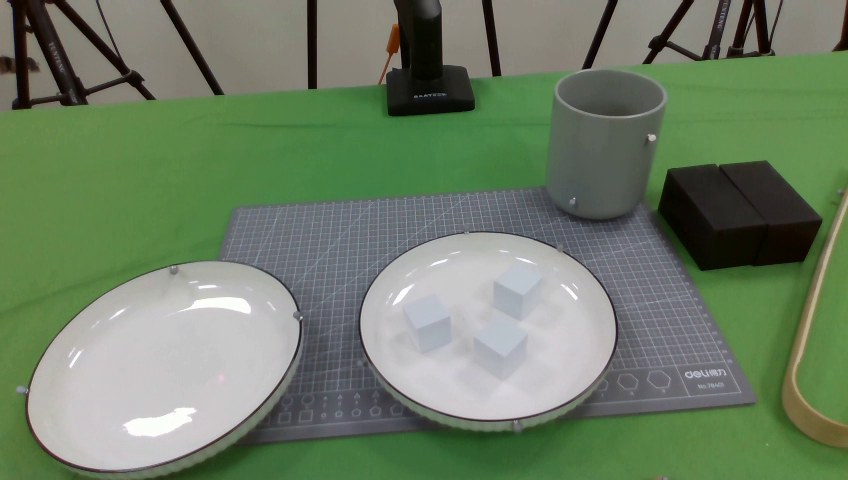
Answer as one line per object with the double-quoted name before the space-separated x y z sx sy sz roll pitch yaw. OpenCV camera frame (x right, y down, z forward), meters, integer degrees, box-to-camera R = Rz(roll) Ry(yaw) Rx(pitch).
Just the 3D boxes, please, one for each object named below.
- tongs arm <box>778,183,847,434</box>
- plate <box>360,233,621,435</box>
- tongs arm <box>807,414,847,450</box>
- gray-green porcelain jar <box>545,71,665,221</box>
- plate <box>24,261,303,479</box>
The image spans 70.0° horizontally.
"tongs arm" 0.374 0.022 0.552 0.028 0.028 0.386 25 48 26
"plate" 0.053 0.073 0.500 0.207 0.039 0.205 -2 40 2
"tongs arm" 0.433 0.053 0.506 0.385 0.027 0.050 -32 47 -28
"gray-green porcelain jar" 0.179 -0.091 0.618 0.106 0.127 0.105 -2 40 2
"plate" -0.199 0.099 0.485 0.209 0.038 0.207 -3 40 3
